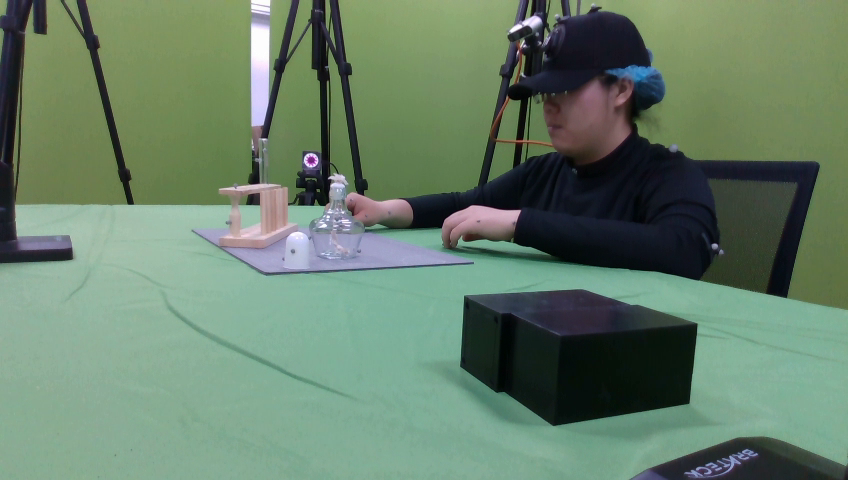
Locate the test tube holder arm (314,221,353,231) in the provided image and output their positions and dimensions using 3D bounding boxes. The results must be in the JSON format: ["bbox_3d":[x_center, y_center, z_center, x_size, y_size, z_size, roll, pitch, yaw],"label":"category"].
[{"bbox_3d":[-0.167,-0.027,1.136,0.015,0.013,0.179,10,7,11],"label":"test tube holder arm"}]

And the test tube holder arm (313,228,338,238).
[{"bbox_3d":[-0.177,-0.016,1.094,0.015,0.010,0.088,10,13,11],"label":"test tube holder arm"}]

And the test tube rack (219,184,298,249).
[{"bbox_3d":[-0.266,-0.046,1.001,0.067,0.085,0.242,3,7,0],"label":"test tube rack"}]

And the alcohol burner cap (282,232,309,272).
[{"bbox_3d":[-0.157,0.014,0.740,0.034,0.048,0.034,2,5,0],"label":"alcohol burner cap"}]

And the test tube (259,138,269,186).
[{"bbox_3d":[-0.281,-0.104,1.064,0.017,0.150,0.017,2,12,0],"label":"test tube"}]

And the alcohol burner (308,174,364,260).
[{"bbox_3d":[-0.121,-0.033,0.841,0.078,0.119,0.078,3,5,0],"label":"alcohol burner"}]
